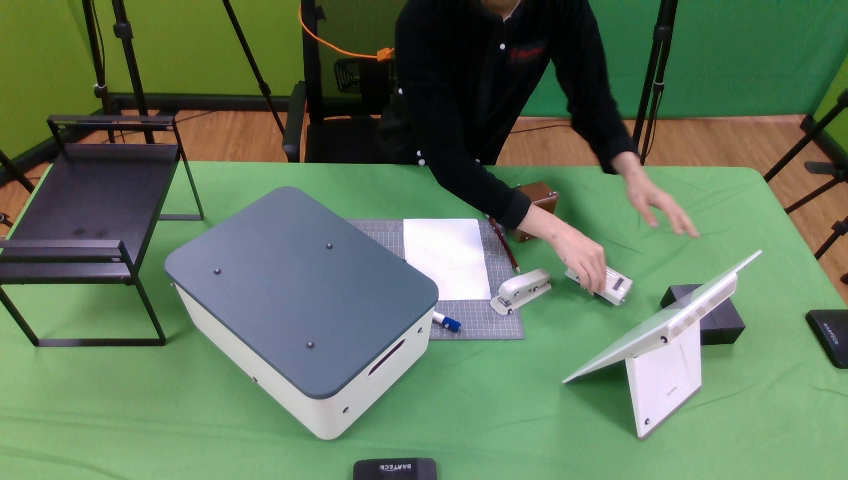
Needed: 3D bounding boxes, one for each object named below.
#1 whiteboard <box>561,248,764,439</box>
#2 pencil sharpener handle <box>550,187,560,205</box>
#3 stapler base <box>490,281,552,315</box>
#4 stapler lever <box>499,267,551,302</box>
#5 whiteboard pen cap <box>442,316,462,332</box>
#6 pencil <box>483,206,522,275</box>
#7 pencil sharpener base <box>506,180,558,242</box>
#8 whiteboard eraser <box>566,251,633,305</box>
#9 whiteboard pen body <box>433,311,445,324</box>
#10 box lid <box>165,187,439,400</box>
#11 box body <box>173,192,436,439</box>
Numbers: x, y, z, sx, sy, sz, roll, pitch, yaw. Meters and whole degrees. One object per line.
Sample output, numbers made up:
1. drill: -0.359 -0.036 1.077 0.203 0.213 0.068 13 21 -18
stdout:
1. whiteboard: 0.386 0.176 0.905 0.217 0.306 0.143 -26 72 -27
2. pencil sharpener handle: 0.261 -0.084 1.221 0.031 0.068 0.036 -16 67 -19
3. stapler base: 0.181 0.094 1.118 0.130 0.024 0.041 -24 57 -29
4. stapler lever: 0.185 0.076 1.101 0.118 0.040 0.026 -24 57 -29
5. whiteboard pen cap: 0.048 0.146 1.059 0.033 0.018 0.018 24 49 16
6. pencil: 0.158 -0.001 1.217 0.012 0.012 0.192 -11 48 -14
7. pencil sharpener base: 0.216 -0.058 1.211 0.077 0.107 0.061 -16 49 -19
8. whiteboard eraser: 0.326 0.072 1.131 0.112 0.042 0.055 32 57 20
9. whiteboard pen body: -0.004 0.123 1.074 0.140 0.017 0.017 24 49 15
10. box lid: -0.186 0.060 0.925 0.370 0.015 0.263 32 53 25
11. box body: -0.191 0.110 0.979 0.362 0.161 0.254 33 53 24
